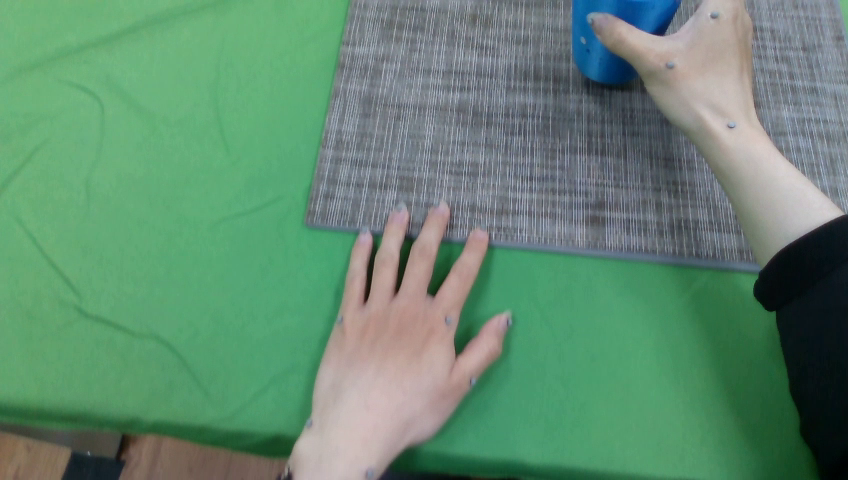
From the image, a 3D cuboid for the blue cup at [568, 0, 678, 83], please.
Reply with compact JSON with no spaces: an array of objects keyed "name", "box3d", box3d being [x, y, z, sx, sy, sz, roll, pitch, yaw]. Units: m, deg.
[{"name":"blue cup","box3d":[0.151,-0.178,0.470,0.092,0.101,0.092,-2,64,5]}]
